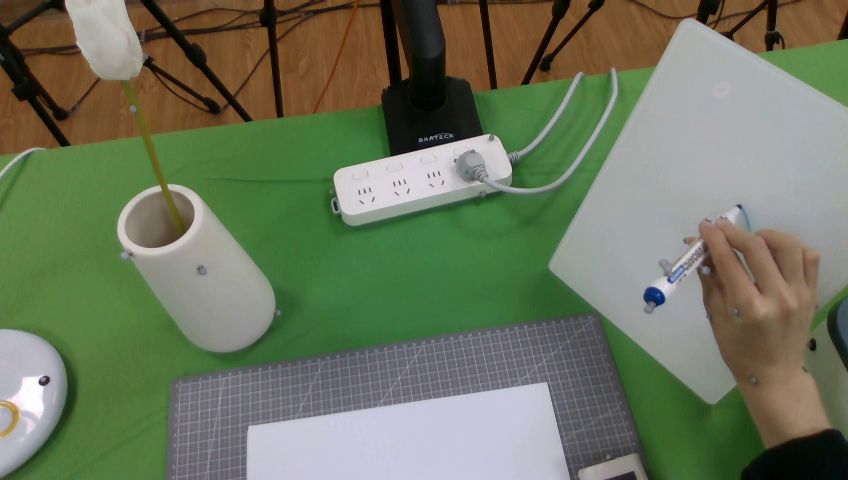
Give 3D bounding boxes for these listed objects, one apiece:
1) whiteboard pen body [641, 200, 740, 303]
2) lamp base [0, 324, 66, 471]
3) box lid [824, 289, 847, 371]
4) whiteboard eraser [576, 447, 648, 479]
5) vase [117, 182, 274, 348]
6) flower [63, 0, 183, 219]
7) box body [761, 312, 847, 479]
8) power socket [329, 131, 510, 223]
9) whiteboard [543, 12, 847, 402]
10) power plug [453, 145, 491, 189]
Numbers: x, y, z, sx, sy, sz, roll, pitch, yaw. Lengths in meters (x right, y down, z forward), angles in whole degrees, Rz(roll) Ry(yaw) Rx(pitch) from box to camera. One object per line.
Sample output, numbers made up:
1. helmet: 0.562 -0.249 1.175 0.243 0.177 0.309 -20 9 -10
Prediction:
1. whiteboard pen body: 0.207 0.004 0.461 0.141 0.017 0.017 -36 64 -29
2. lamp base: -0.455 0.116 0.541 0.178 0.182 0.160 20 62 16
3. box lid: 0.469 0.178 0.406 0.263 0.015 0.368 -9 62 -4
4. whiteboard eraser: 0.179 0.243 0.529 0.056 0.042 0.111 -13 60 -7
5. vase: -0.211 0.029 0.574 0.098 0.201 0.097 -1 60 3
6. flower: -0.210 -0.029 0.512 0.038 0.365 0.043 -19 43 -17
7. box body: 0.471 0.217 0.470 0.254 0.162 0.360 -10 60 -4
8. power socket: -0.003 -0.077 0.725 0.227 0.033 0.071 -14 62 -7
9. whiteboard: 0.287 -0.033 0.571 0.144 0.307 0.215 -29 61 -35
10. power plug: 0.053 -0.077 0.696 0.035 0.053 0.072 -5 62 -1
